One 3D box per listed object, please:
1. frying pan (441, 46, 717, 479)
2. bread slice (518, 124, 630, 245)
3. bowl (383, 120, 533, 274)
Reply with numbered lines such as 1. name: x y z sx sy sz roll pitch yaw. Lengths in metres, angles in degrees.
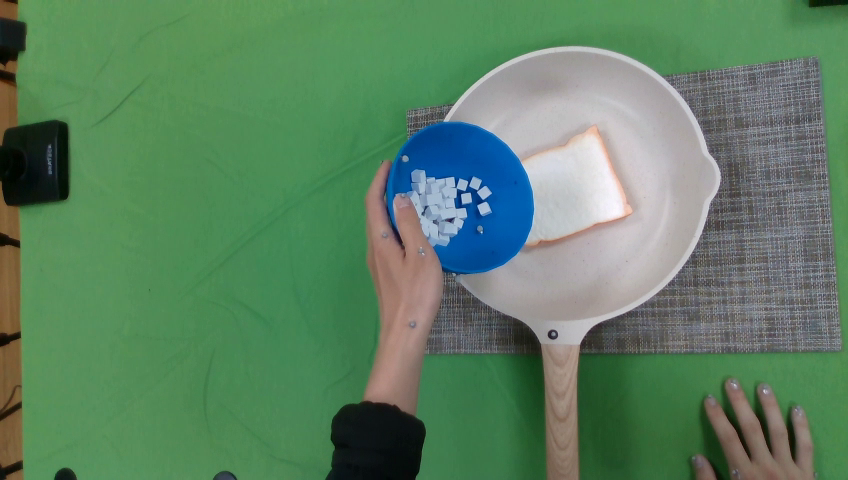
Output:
1. frying pan: 0.140 0.046 0.636 0.306 0.103 0.485 -1 78 18
2. bread slice: 0.149 -0.052 0.680 0.134 0.018 0.106 -25 80 12
3. bowl: 0.023 -0.033 0.599 0.152 0.077 0.150 6 75 -21
